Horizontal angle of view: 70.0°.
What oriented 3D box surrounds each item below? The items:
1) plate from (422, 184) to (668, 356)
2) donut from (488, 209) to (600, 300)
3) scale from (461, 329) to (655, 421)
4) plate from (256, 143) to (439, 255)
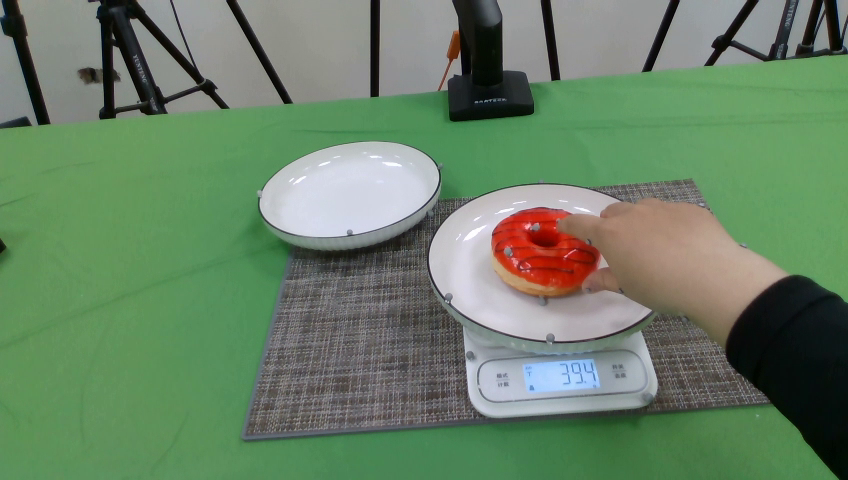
[{"bbox_3d":[0.102,0.025,0.534,0.207,0.039,0.205,-3,40,3],"label":"plate"},{"bbox_3d":[0.104,0.012,0.530,0.099,0.049,0.098,-2,41,2],"label":"donut"},{"bbox_3d":[0.106,0.065,0.537,0.148,0.032,0.199,-5,40,3],"label":"scale"},{"bbox_3d":[-0.086,-0.046,0.698,0.209,0.038,0.207,-5,37,4],"label":"plate"}]
